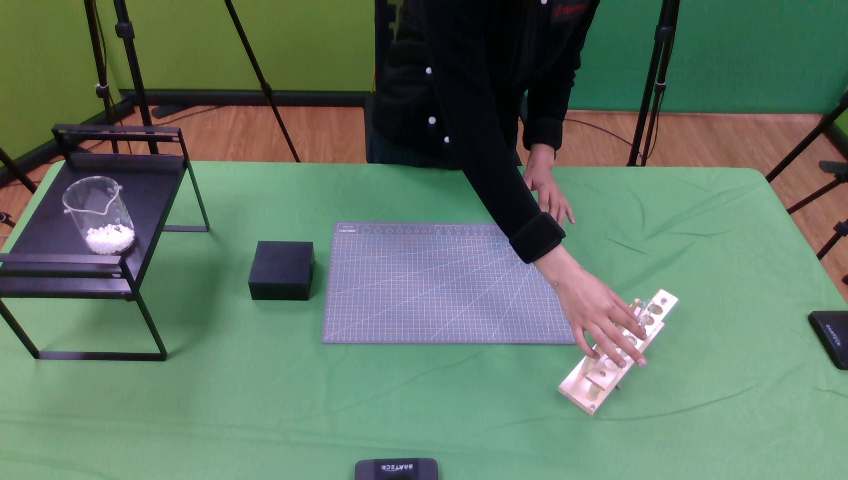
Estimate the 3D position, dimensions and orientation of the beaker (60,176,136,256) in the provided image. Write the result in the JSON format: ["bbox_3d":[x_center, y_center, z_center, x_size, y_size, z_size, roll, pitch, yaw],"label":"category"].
[{"bbox_3d":[-0.470,-0.031,0.887,0.074,0.101,0.083,-31,56,-29],"label":"beaker"}]

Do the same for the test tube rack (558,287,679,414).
[{"bbox_3d":[0.326,0.170,1.009,0.066,0.085,0.242,35,54,26],"label":"test tube rack"}]

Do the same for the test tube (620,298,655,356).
[{"bbox_3d":[0.330,0.142,0.941,0.017,0.151,0.017,1,46,-1],"label":"test tube"}]
